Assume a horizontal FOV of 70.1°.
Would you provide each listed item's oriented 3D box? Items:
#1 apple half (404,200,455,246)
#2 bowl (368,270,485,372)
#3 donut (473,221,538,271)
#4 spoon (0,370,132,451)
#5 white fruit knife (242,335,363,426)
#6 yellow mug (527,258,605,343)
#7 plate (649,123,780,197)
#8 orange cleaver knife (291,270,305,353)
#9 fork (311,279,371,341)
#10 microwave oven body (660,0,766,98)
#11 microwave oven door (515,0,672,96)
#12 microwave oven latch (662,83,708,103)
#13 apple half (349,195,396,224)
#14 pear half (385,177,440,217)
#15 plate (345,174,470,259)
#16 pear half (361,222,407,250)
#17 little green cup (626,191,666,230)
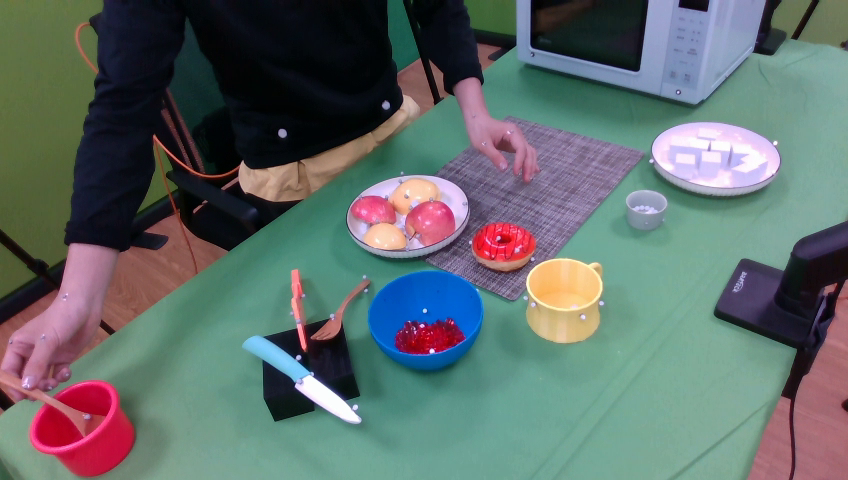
[{"bbox_3d":[0.009,-0.035,0.969,0.075,0.053,0.080,-27,41,-22],"label":"apple half"},{"bbox_3d":[0.007,0.118,0.791,0.151,0.077,0.150,-5,40,4],"label":"bowl"},{"bbox_3d":[0.123,0.008,0.923,0.099,0.048,0.098,-3,38,3],"label":"donut"},{"bbox_3d":[-0.439,0.194,0.716,0.195,0.021,0.041,38,44,-17],"label":"spoon"},{"bbox_3d":[-0.148,0.167,0.730,0.206,0.016,0.027,26,80,31],"label":"white fruit knife"},{"bbox_3d":[0.202,0.073,0.824,0.131,0.064,0.099,-32,46,-27],"label":"yellow mug"},{"bbox_3d":[0.497,-0.135,1.046,0.207,0.039,0.206,-4,40,4],"label":"plate"},{"bbox_3d":[-0.175,0.094,0.844,0.012,0.077,0.210,-11,14,-10],"label":"orange cleaver knife"},{"bbox_3d":[-0.108,0.092,0.832,0.028,0.019,0.207,-6,19,15],"label":"fork"},{"bbox_3d":[0.472,-0.513,1.317,0.438,0.261,0.327,26,51,34],"label":"microwave oven body"},{"bbox_3d":[0.343,-0.454,1.259,0.353,0.245,0.039,26,51,33],"label":"microwave oven door"},{"bbox_3d":[0.517,-0.296,1.204,0.078,0.029,0.030,28,52,35],"label":"microwave oven latch"},{"bbox_3d":[-0.081,-0.056,1.008,0.081,0.033,0.081,11,24,-5],"label":"apple half"},{"bbox_3d":[-0.030,-0.079,1.033,0.109,0.056,0.076,0,36,15],"label":"pear half"},{"bbox_3d":[-0.026,-0.036,1.004,0.209,0.038,0.208,-4,40,4],"label":"plate"},{"bbox_3d":[-0.063,-0.012,0.958,0.071,0.031,0.087,2,25,-25],"label":"pear half"},{"bbox_3d":[0.352,-0.046,0.963,0.061,0.039,0.061,-4,40,4],"label":"little green cup"}]
